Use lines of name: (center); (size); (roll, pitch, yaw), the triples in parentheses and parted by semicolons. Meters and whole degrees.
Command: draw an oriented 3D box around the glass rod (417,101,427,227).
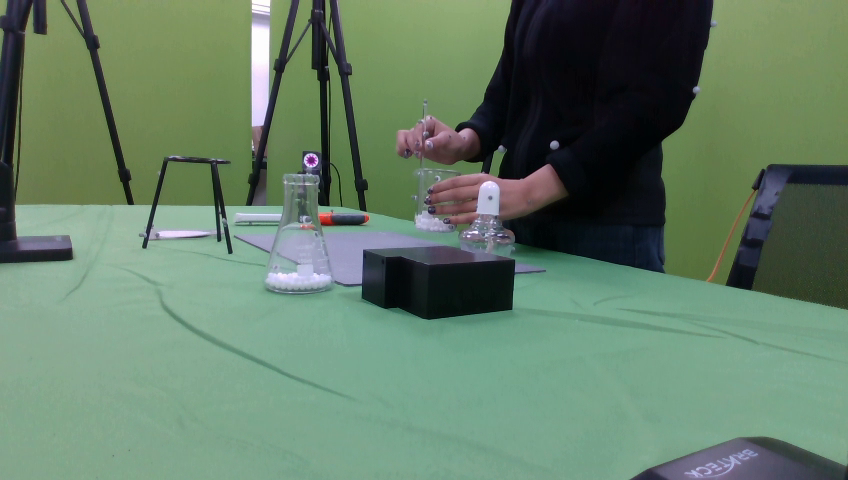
glass rod: (-0.004, -0.121, 0.957); (0.008, 0.199, 0.008); (3, -1, 0)

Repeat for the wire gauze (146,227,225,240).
wire gauze: (-0.400, -0.012, 1.019); (0.122, 0.011, 0.124); (-1, 6, -26)

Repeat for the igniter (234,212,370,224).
igniter: (-0.247, -0.046, 1.253); (0.278, 0.025, 0.057); (-1, -2, -27)

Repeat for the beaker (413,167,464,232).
beaker: (0.020, -0.064, 0.969); (0.084, 0.100, 0.074); (5, 4, 12)

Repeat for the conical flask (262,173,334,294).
conical flask: (-0.131, -0.009, 0.632); (0.075, 0.122, 0.075); (2, 8, 0)

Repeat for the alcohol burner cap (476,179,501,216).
alcohol burner cap: (0.086, -0.057, 0.801); (0.034, 0.048, 0.034); (4, 2, 0)

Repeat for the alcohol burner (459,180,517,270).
alcohol burner: (0.086, -0.021, 0.805); (0.078, 0.119, 0.078); (3, 9, 0)

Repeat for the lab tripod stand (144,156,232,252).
lab tripod stand: (-0.325, -0.054, 0.881); (0.148, 0.131, 0.148); (4, 7, 0)
